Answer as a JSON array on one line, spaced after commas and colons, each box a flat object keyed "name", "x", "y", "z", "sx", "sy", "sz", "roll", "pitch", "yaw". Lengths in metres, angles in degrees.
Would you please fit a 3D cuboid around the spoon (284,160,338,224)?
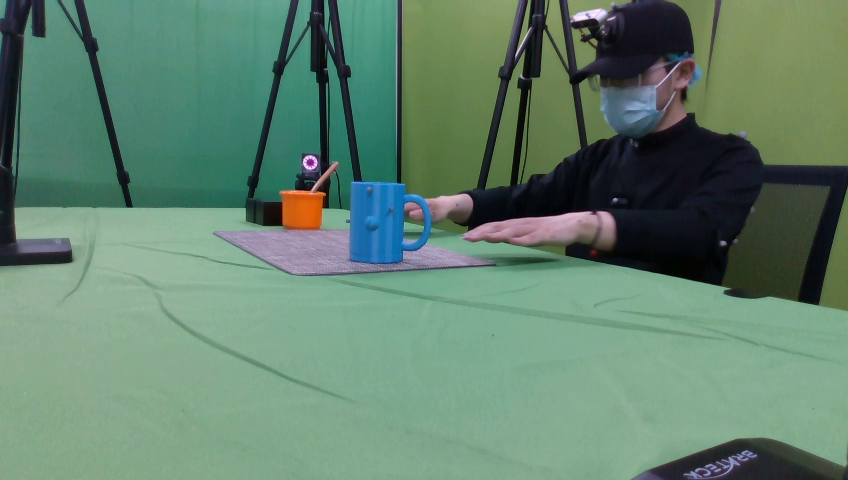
[{"name": "spoon", "x": -0.229, "y": -0.101, "z": 1.251, "sx": 0.041, "sy": 0.194, "sz": 0.022, "roll": 6, "pitch": -37, "yaw": 35}]

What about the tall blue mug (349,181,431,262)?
[{"name": "tall blue mug", "x": -0.051, "y": -0.028, "z": 0.849, "sx": 0.108, "sy": 0.108, "sz": 0.077, "roll": -1, "pitch": 7, "yaw": -22}]
